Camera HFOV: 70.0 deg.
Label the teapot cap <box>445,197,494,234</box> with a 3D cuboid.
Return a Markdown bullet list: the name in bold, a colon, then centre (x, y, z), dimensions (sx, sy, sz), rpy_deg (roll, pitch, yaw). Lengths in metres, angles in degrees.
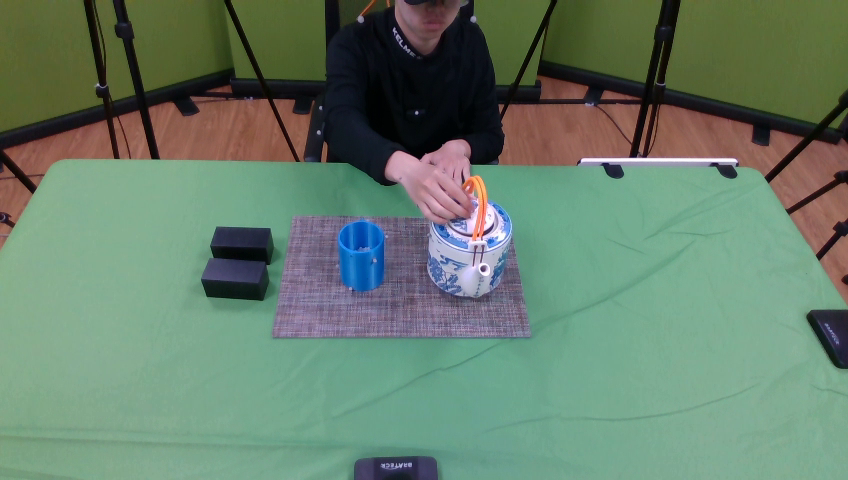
- **teapot cap**: centre (0.078, -0.046, 1.035), dimensions (0.085, 0.044, 0.084), rpy_deg (-1, 50, 1)

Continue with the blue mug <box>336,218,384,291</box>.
- **blue mug**: centre (-0.115, 0.018, 1.111), dimensions (0.082, 0.106, 0.116), rpy_deg (1, 46, -3)

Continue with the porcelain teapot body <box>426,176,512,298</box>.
- **porcelain teapot body**: centre (0.085, 0.009, 1.051), dimensions (0.145, 0.226, 0.204), rpy_deg (-5, 47, -9)
